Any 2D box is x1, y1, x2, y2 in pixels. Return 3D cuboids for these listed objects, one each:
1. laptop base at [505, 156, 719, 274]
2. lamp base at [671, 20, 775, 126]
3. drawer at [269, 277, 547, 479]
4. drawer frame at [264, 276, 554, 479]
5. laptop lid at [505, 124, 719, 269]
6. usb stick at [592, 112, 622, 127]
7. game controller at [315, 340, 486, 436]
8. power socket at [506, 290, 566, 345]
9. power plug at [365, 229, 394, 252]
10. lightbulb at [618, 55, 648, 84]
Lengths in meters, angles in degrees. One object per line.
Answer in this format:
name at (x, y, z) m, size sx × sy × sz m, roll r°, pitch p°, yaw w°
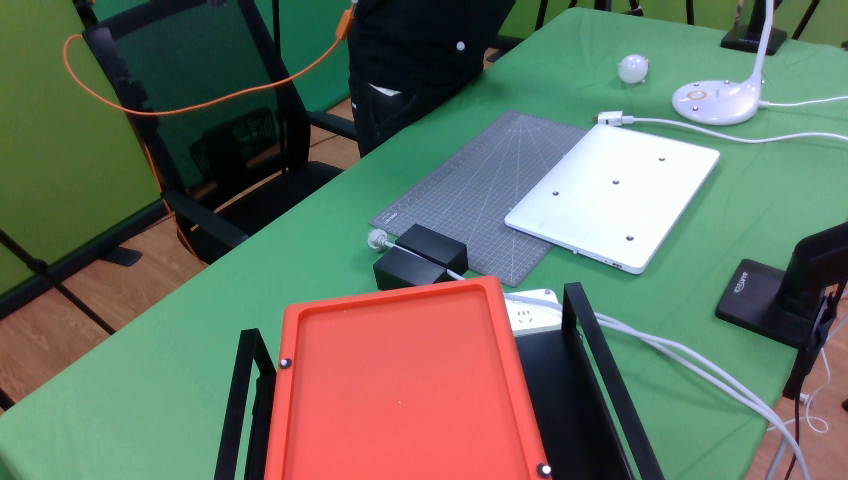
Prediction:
laptop base at (0.326, -0.083, 1.028) m, size 0.233 × 0.023 × 0.355 m, roll 21°, pitch 48°, yaw 32°
lamp base at (0.582, -0.332, 1.153) m, size 0.179 × 0.181 × 0.160 m, roll 2°, pitch 41°, yaw 7°
drawer at (-0.018, 0.137, 0.493) m, size 0.195 × 0.073 × 0.210 m, roll -7°, pitch 41°, yaw -1°
drawer frame at (-0.016, 0.137, 0.490) m, size 0.202 × 0.083 × 0.212 m, roll -8°, pitch 41°, yaw -2°
laptop lid at (0.323, -0.093, 1.021) m, size 0.240 × 0.013 × 0.358 m, roll 23°, pitch 49°, yaw 32°
usb stick at (0.361, -0.239, 1.196) m, size 0.059 × 0.021 × 0.027 m, roll 4°, pitch 42°, yaw 27°
game controller at (-0.021, 0.119, 0.533) m, size 0.155 × 0.052 × 0.096 m, roll -3°, pitch 39°, yaw 1°
power socket at (0.081, 0.112, 0.822) m, size 0.227 × 0.033 × 0.072 m, roll -7°, pitch 41°, yaw 0°
power plug at (-0.067, 0.010, 0.954) m, size 0.035 × 0.053 × 0.072 m, roll -41°, pitch 52°, yaw 1°
lightbulb at (0.464, -0.376, 1.324) m, size 0.059 × 0.059 × 0.108 m, roll 22°, pitch 34°, yaw 30°
